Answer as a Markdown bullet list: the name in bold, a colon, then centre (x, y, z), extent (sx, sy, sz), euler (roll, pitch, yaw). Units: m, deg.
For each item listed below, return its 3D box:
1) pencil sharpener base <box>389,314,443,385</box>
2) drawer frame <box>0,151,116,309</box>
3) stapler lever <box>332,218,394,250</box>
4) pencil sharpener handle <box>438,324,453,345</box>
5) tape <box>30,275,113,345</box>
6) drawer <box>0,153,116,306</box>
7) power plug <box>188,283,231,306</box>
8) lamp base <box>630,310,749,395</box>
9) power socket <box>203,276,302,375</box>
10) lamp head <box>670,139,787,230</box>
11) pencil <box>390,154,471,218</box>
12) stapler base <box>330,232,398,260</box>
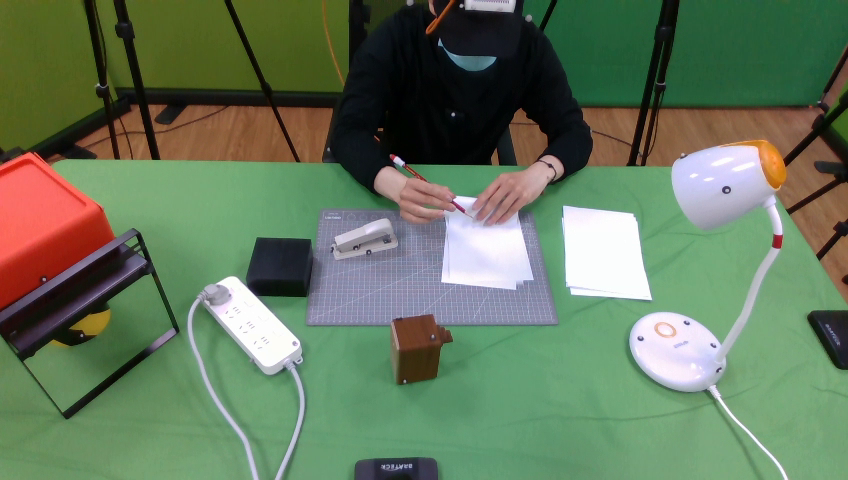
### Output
- **pencil sharpener base**: centre (-0.013, 0.175, 0.971), extent (0.077, 0.107, 0.061), euler (-8, 47, -11)
- **drawer frame**: centre (-0.604, -0.013, 0.876), extent (0.201, 0.083, 0.213), euler (31, 52, 23)
- **stapler lever**: centre (-0.116, -0.012, 1.161), extent (0.118, 0.040, 0.026), euler (-13, 48, -14)
- **pencil sharpener handle**: centre (0.036, 0.155, 0.976), extent (0.031, 0.068, 0.036), euler (-8, 69, -11)
- **tape**: centre (-0.593, 0.117, 1.021), extent (0.117, 0.053, 0.116), euler (2, 46, -2)
- **drawer**: centre (-0.601, -0.015, 0.880), extent (0.193, 0.073, 0.211), euler (32, 53, 23)
- **power plug**: centre (-0.368, 0.099, 1.037), extent (0.072, 0.053, 0.035), euler (-24, 52, -26)
- **lamp base**: centre (0.447, 0.143, 0.984), extent (0.161, 0.181, 0.178), euler (-24, 55, -24)
- **power socket**: centre (-0.297, 0.141, 1.034), extent (0.072, 0.033, 0.225), euler (-34, 58, -30)
- **lamp head**: centre (0.415, -0.078, 0.812), extent (0.113, 0.123, 0.112), euler (12, 70, -37)
- **pencil**: centre (0.013, -0.100, 1.128), extent (0.194, 0.012, 0.012), euler (38, 53, 6)
- **stapler base**: centre (-0.116, 0.004, 1.181), extent (0.131, 0.024, 0.041), euler (-13, 48, -14)
